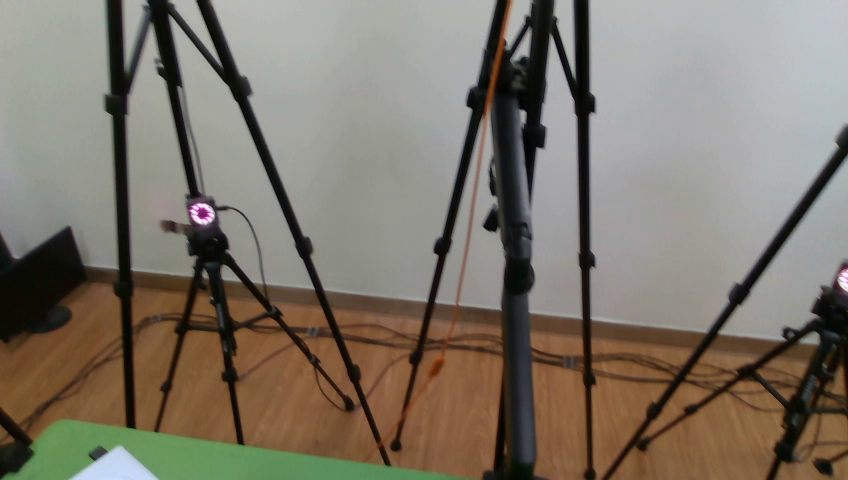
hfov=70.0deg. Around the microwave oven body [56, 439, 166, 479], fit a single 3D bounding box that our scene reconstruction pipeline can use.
[{"bbox_3d":[-0.418,0.496,0.643,0.323,0.262,0.441,23,39,29],"label":"microwave oven body"}]
